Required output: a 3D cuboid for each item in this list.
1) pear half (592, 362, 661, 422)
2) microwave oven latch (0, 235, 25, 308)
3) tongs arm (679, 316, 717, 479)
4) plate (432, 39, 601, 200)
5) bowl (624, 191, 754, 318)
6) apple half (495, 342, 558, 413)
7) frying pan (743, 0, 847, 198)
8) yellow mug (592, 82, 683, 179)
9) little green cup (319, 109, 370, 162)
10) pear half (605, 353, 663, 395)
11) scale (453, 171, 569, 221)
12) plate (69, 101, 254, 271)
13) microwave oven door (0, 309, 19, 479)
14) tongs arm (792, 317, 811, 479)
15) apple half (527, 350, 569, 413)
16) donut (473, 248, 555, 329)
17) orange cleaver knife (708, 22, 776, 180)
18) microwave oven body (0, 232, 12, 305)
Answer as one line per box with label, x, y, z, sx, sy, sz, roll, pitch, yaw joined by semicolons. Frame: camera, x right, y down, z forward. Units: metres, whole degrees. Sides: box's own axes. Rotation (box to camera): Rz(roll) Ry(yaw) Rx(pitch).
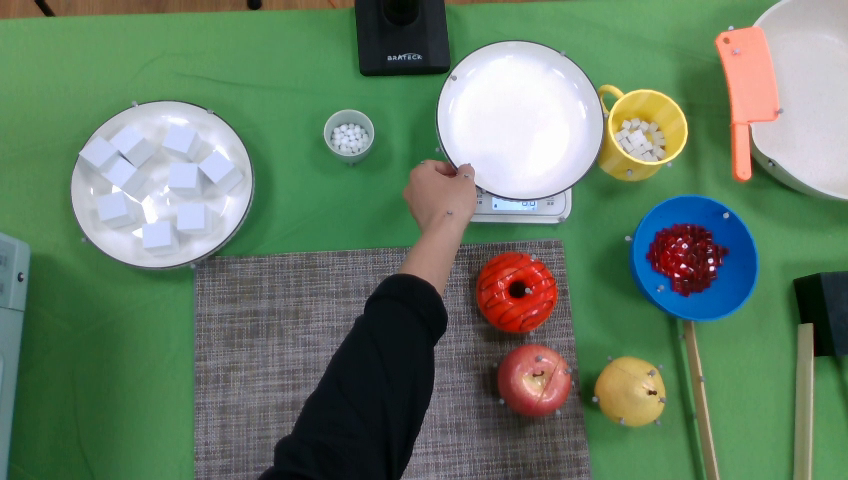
pear half;0.229;0.177;0.682;0.076;0.110;0.056;27;77;5
microwave oven latch;-0.465;0.036;0.671;0.030;0.029;0.079;1;78;-5
tongs arm;0.353;0.278;0.709;0.051;0.026;0.383;-2;79;-10
plate;0.112;-0.146;0.747;0.209;0.038;0.208;1;78;-5
bowl;0.308;0.023;0.738;0.151;0.077;0.150;1;79;-4
apple half;0.109;0.150;0.693;0.053;0.075;0.080;29;80;5
frying pan;0.587;-0.105;0.775;0.307;0.103;0.484;-30;74;-9
yellow mug;0.258;-0.148;0.776;0.100;0.064;0.130;-36;82;-10
little green cup;-0.098;-0.128;0.756;0.061;0.039;0.061;1;77;-4
pear half;0.247;0.150;0.700;0.070;0.088;0.031;26;77;4
scale;0.110;-0.124;0.776;0.149;0.031;0.200;1;78;-4
plate;-0.307;-0.063;0.725;0.208;0.039;0.206;1;78;-5
microwave oven door;-0.453;0.227;0.527;0.039;0.244;0.354;-1;78;-5
tongs arm;0.438;0.282;0.720;0.028;0.028;0.386;13;78;-10
apple half;0.144;0.167;0.691;0.033;0.081;0.081;29;77;5
donut;0.107;0.058;0.727;0.099;0.048;0.098;0;78;-2
orange cleaver knife;0.401;-0.177;0.757;0.077;0.012;0.210;1;79;-1
microwave oven body;-0.600;0.189;0.528;0.326;0.261;0.439;-1;78;-5
